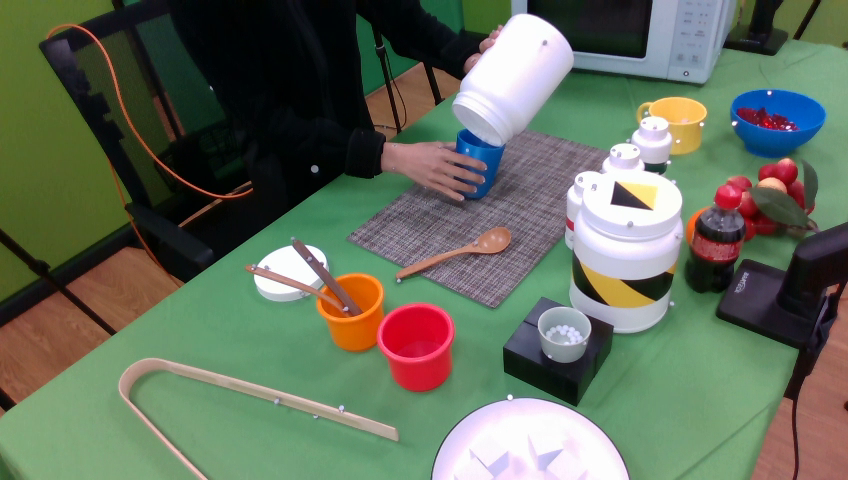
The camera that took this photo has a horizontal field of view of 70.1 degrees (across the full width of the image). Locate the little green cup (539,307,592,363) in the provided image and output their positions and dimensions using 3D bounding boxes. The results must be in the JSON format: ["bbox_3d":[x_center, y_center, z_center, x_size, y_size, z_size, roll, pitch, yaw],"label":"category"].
[{"bbox_3d":[0.168,0.115,0.721,0.061,0.039,0.061,-4,42,4],"label":"little green cup"}]

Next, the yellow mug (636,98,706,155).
[{"bbox_3d":[0.453,-0.218,1.129,0.100,0.064,0.129,-34,46,-26],"label":"yellow mug"}]

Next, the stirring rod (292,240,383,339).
[{"bbox_3d":[-0.118,0.068,0.825,0.176,0.006,0.014,49,59,-3],"label":"stirring rod"}]

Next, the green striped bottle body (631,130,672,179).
[{"bbox_3d":[0.375,-0.140,1.007,0.063,0.120,0.063,-5,41,5],"label":"green striped bottle body"}]

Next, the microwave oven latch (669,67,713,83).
[{"bbox_3d":[0.556,-0.349,1.261,0.078,0.029,0.030,16,46,27],"label":"microwave oven latch"}]

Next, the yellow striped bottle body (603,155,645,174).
[{"bbox_3d":[0.313,-0.089,0.956,0.063,0.121,0.062,-4,39,4],"label":"yellow striped bottle body"}]

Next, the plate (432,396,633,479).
[{"bbox_3d":[0.112,0.261,0.634,0.209,0.038,0.208,-5,40,4],"label":"plate"}]

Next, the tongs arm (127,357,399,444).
[{"bbox_3d":[-0.213,0.205,0.755,0.382,0.026,0.051,12,46,23],"label":"tongs arm"}]

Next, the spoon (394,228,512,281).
[{"bbox_3d":[0.045,0.024,0.935,0.194,0.022,0.041,-18,66,-11],"label":"spoon"}]

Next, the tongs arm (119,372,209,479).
[{"bbox_3d":[-0.258,0.257,0.700,0.384,0.028,0.028,24,55,34],"label":"tongs arm"}]

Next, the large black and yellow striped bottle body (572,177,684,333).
[{"bbox_3d":[0.262,0.017,0.788,0.131,0.185,0.130,-5,40,4],"label":"large black and yellow striped bottle body"}]

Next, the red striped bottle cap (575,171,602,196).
[{"bbox_3d":[0.242,-0.081,0.876,0.044,0.018,0.044,-5,43,5],"label":"red striped bottle cap"}]

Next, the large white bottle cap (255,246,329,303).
[{"bbox_3d":[-0.208,0.052,0.952,0.115,0.018,0.114,-4,41,4],"label":"large white bottle cap"}]

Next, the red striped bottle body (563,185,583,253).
[{"bbox_3d":[0.247,-0.041,0.910,0.063,0.120,0.062,-1,38,1],"label":"red striped bottle body"}]

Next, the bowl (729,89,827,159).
[{"bbox_3d":[0.615,-0.197,1.069,0.151,0.077,0.150,-5,40,5],"label":"bowl"}]

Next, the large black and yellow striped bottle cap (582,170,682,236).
[{"bbox_3d":[0.252,-0.048,0.735,0.115,0.019,0.114,-3,40,3],"label":"large black and yellow striped bottle cap"}]

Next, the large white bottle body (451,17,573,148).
[{"bbox_3d":[0.142,-0.256,0.997,0.129,0.132,0.184,33,82,38],"label":"large white bottle body"}]

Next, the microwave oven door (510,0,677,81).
[{"bbox_3d":[0.354,-0.478,1.290,0.353,0.245,0.039,15,45,25],"label":"microwave oven door"}]

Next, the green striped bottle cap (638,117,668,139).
[{"bbox_3d":[0.369,-0.180,0.974,0.044,0.020,0.044,-4,41,4],"label":"green striped bottle cap"}]

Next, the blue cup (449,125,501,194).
[{"bbox_3d":[0.084,-0.136,1.043,0.093,0.100,0.092,6,37,-4],"label":"blue cup"}]

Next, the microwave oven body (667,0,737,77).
[{"bbox_3d":[0.462,-0.552,1.368,0.439,0.261,0.326,14,45,26],"label":"microwave oven body"}]

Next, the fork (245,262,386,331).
[{"bbox_3d":[-0.141,0.076,0.807,0.209,0.018,0.028,29,51,-24],"label":"fork"}]

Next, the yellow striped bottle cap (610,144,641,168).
[{"bbox_3d":[0.307,-0.128,0.923,0.044,0.019,0.044,-6,39,5],"label":"yellow striped bottle cap"}]
